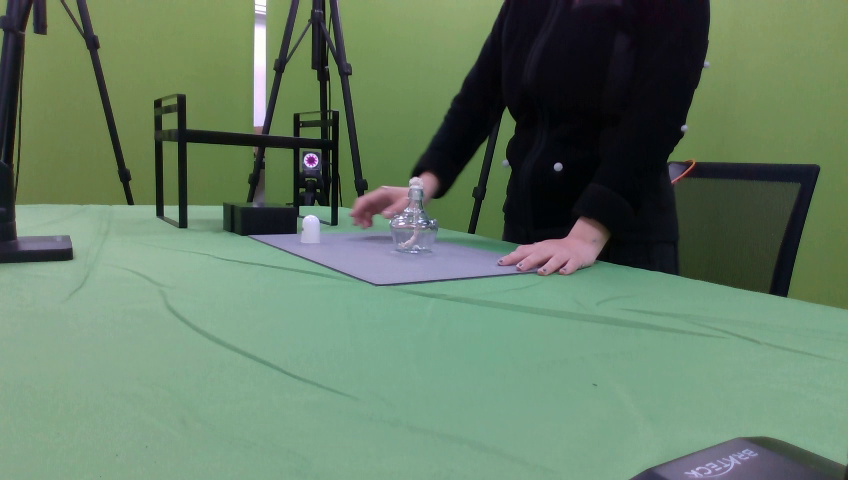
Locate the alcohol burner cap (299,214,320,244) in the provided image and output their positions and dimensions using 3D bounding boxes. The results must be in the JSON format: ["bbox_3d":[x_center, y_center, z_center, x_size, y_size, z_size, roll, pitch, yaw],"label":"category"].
[{"bbox_3d":[-0.185,-0.018,0.979,0.034,0.048,0.034,4,8,0],"label":"alcohol burner cap"}]

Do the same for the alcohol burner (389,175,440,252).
[{"bbox_3d":[-0.013,-0.041,0.929,0.078,0.119,0.078,4,8,0],"label":"alcohol burner"}]
